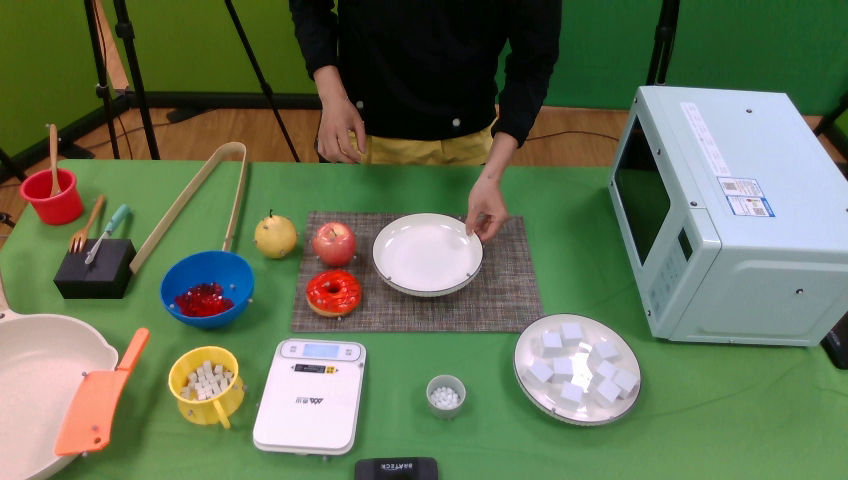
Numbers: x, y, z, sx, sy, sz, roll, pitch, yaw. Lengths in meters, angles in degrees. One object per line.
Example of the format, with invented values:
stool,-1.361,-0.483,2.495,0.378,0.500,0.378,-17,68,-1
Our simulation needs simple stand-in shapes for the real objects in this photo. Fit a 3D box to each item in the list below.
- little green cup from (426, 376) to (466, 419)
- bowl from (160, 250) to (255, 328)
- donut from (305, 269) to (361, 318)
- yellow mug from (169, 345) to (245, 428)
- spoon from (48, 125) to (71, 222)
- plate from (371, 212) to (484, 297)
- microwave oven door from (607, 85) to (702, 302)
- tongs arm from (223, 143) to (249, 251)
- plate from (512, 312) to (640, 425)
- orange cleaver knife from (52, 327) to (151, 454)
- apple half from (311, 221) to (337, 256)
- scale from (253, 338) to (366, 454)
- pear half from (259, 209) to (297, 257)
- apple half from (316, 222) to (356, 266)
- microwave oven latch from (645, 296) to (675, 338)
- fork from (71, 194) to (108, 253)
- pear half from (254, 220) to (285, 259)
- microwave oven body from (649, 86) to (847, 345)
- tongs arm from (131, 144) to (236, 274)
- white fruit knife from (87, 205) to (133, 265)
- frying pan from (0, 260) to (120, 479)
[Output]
little green cup,0.033,0.248,0.950,0.061,0.039,0.061,2,46,-2
bowl,-0.362,0.098,1.040,0.151,0.077,0.150,2,45,-2
donut,-0.160,0.094,1.075,0.099,0.048,0.098,4,45,-3
yellow mug,-0.322,0.230,0.922,0.100,0.064,0.130,-24,53,-25
spoon,-0.718,-0.131,1.188,0.041,0.021,0.193,-3,90,-6
plate,0.006,0.029,1.126,0.209,0.038,0.208,0,45,0
microwave oven door,0.423,-0.094,1.140,0.039,0.245,0.353,2,46,-1
tongs arm,-0.397,-0.073,1.232,0.051,0.027,0.382,-2,45,0
plate,0.246,0.213,0.999,0.208,0.039,0.206,2,46,-2
orange cleaver knife,-0.462,0.212,0.879,0.077,0.012,0.210,7,45,-2
apple half,-0.190,-0.001,1.143,0.032,0.081,0.081,28,51,19
scale,-0.175,0.236,0.951,0.149,0.032,0.199,4,45,-1
pear half,-0.273,-0.024,1.141,0.076,0.110,0.056,27,50,16
apple half,-0.157,0.015,1.132,0.053,0.075,0.080,28,47,18
microwave oven latch,0.412,0.134,1.061,0.030,0.029,0.078,3,45,0
fork,-0.634,-0.036,1.158,0.028,0.019,0.206,-7,31,-8
pear half,-0.293,0.003,1.127,0.070,0.088,0.031,25,49,16
microwave oven body,0.567,-0.053,1.118,0.326,0.261,0.439,2,45,-1
tongs arm,-0.483,-0.077,1.236,0.028,0.028,0.385,6,45,13
white fruit knife,-0.584,-0.013,1.129,0.016,0.027,0.206,-1,32,-4
frying pan,-0.647,0.164,0.936,0.307,0.103,0.485,-19,58,-22
